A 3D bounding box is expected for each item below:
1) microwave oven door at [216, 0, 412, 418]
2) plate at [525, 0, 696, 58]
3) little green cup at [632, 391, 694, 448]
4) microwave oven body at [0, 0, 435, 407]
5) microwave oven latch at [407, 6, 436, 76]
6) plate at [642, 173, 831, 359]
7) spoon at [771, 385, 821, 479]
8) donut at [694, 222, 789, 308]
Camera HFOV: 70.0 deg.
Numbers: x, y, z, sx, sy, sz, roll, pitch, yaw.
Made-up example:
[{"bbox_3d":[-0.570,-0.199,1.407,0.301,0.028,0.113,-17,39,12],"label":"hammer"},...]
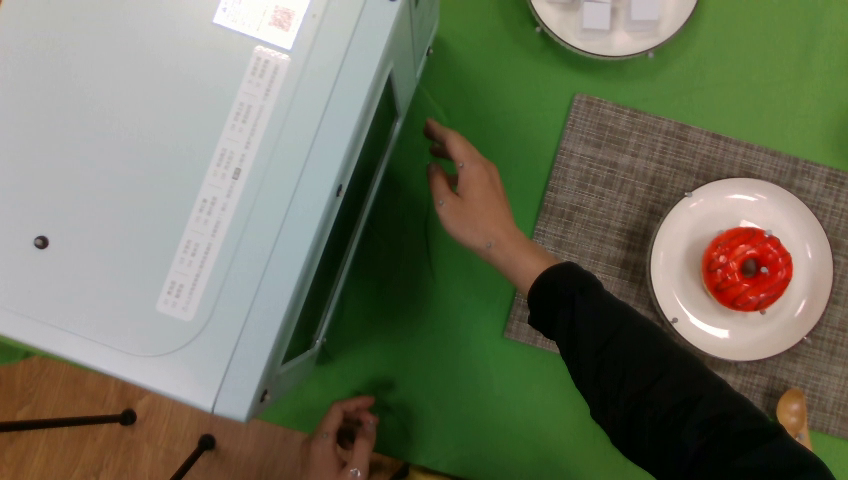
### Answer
[{"bbox_3d":[-0.089,-0.028,0.577,0.039,0.244,0.355,19,88,1],"label":"microwave oven door"},{"bbox_3d":[0.214,-0.311,0.707,0.208,0.039,0.207,0,88,0],"label":"plate"},{"bbox_3d":[0.268,0.201,0.687,0.061,0.038,0.061,0,85,0],"label":"little green cup"},{"bbox_3d":[-0.212,-0.117,0.586,0.326,0.260,0.441,20,89,1],"label":"microwave oven body"},{"bbox_3d":[-0.011,-0.229,0.686,0.030,0.029,0.079,22,89,1],"label":"microwave oven latch"},{"bbox_3d":[0.349,0.029,0.691,0.209,0.038,0.209,0,88,1],"label":"plate"},{"bbox_3d":[0.438,0.256,0.691,0.042,0.021,0.193,-20,89,-17],"label":"spoon"},{"bbox_3d":[0.354,0.028,0.679,0.099,0.048,0.099,0,89,3],"label":"donut"}]
